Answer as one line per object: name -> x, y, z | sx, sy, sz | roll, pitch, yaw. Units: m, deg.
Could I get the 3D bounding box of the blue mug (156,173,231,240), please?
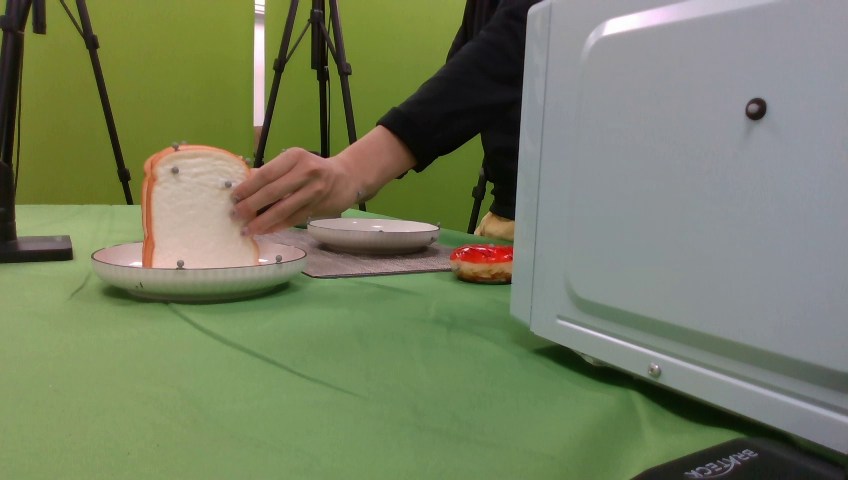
blue mug -> -0.381, -0.057, 1.004 | 0.117, 0.106, 0.082 | 0, 8, -12

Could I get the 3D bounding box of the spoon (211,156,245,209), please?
spoon -> -0.477, -0.145, 1.492 | 0.041, 0.022, 0.193 | 0, 51, 12

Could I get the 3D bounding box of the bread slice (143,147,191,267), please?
bread slice -> -0.250, -0.034, 0.657 | 0.105, 0.131, 0.019 | -3, 5, -33

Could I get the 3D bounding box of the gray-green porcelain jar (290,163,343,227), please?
gray-green porcelain jar -> -0.217, -0.091, 1.221 | 0.106, 0.126, 0.106 | 2, 7, 0

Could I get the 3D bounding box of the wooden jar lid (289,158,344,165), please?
wooden jar lid -> -0.215, -0.153, 1.212 | 0.108, 0.020, 0.108 | 2, 5, 0

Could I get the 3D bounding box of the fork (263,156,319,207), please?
fork -> -0.331, -0.144, 1.506 | 0.207, 0.018, 0.028 | -42, -21, 22

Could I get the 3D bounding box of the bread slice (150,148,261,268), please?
bread slice -> -0.226, -0.026, 0.616 | 0.107, 0.134, 0.018 | -10, 15, -31

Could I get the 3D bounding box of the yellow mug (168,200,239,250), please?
yellow mug -> -0.320, -0.023, 0.904 | 0.130, 0.064, 0.100 | 9, 11, 36

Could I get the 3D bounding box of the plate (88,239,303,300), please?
plate -> -0.233, 0.029, 0.636 | 0.208, 0.039, 0.207 | 2, 7, 0

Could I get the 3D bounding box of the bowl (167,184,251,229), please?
bowl -> -0.408, -0.064, 1.154 | 0.151, 0.077, 0.151 | 2, 8, 0

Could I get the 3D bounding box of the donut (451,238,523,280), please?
donut -> 0.083, 0.022, 0.745 | 0.099, 0.048, 0.099 | 0, 5, 0

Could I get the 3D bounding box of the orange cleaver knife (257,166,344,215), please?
orange cleaver knife -> -0.276, -0.090, 1.369 | 0.212, 0.077, 0.012 | 33, -11, -34

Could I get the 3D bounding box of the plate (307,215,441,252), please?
plate -> -0.078, -0.011, 0.954 | 0.209, 0.038, 0.209 | 2, 8, 0

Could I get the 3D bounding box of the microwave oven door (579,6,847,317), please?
microwave oven door -> 0.294, -0.067, 0.570 | 0.358, 0.243, 0.039 | -3, 9, -31

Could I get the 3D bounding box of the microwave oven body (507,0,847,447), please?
microwave oven body -> 0.331, -0.042, 0.425 | 0.444, 0.260, 0.324 | -2, 8, -31

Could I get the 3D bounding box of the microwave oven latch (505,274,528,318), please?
microwave oven latch -> 0.100, 0.041, 0.473 | 0.079, 0.029, 0.030 | -2, 8, -32
